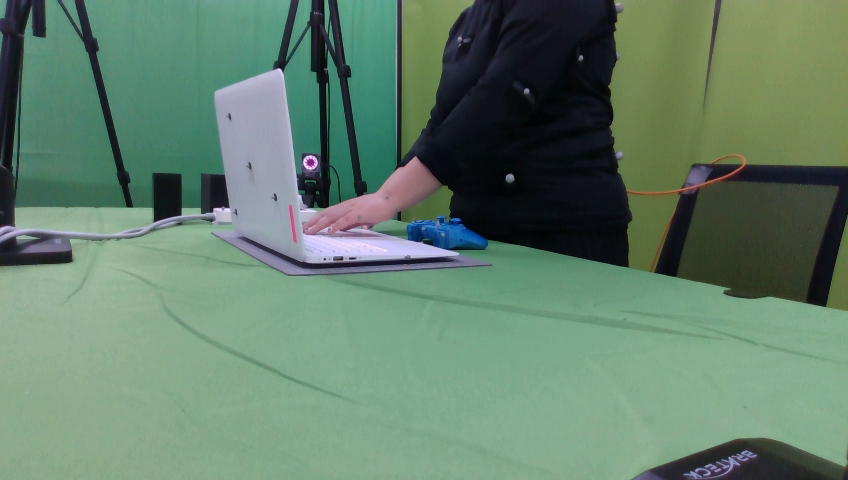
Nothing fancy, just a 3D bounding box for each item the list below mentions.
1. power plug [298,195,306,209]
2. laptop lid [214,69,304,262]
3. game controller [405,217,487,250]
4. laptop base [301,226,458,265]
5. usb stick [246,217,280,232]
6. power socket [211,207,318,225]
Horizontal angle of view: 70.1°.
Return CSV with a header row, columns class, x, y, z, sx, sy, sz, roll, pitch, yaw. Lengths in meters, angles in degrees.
class,x,y,z,sx,sy,sz,roll,pitch,yaw
power plug,-0.283,-0.076,1.342,0.035,0.052,0.072,-1,4,-18
laptop lid,-0.247,-0.107,0.866,0.013,0.241,0.355,-11,14,-30
game controller,0.033,-0.013,1.067,0.097,0.051,0.154,-6,10,-29
laptop base,-0.137,0.007,0.951,0.237,0.023,0.352,2,6,-32
usb stick,-0.297,-0.029,1.113,0.059,0.027,0.021,-3,10,-30
power socket,-0.335,-0.051,1.281,0.228,0.032,0.072,-1,9,-29
